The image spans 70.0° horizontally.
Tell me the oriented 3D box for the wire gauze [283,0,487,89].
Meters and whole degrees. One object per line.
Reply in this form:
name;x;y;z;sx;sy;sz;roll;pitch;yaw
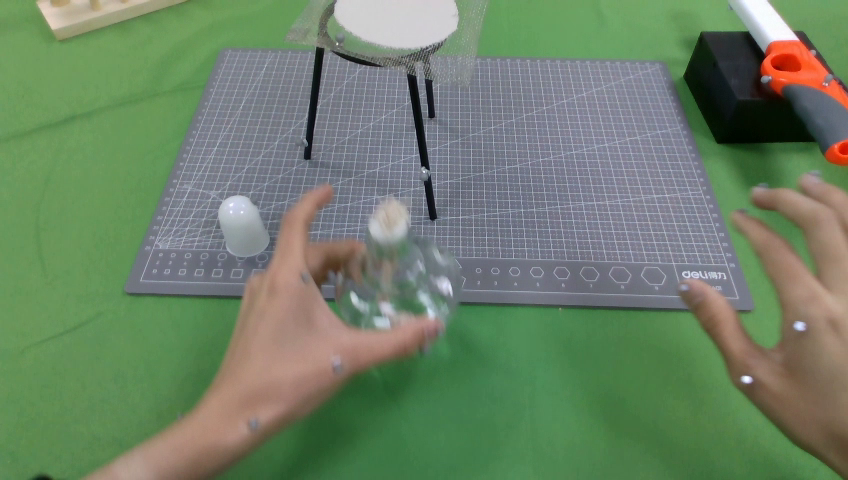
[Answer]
wire gauze;-0.019;-0.155;0.418;0.125;0.011;0.120;12;52;6

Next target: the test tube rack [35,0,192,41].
test tube rack;-0.296;-0.304;0.650;0.242;0.086;0.066;-28;58;-22

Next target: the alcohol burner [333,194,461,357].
alcohol burner;-0.018;0.018;0.355;0.078;0.120;0.077;-4;51;5

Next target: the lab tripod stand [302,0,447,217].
lab tripod stand;-0.027;-0.107;0.466;0.148;0.132;0.147;2;52;-2

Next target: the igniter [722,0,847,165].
igniter;0.314;-0.162;0.530;0.057;0.025;0.273;-2;49;1

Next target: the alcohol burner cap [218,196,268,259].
alcohol burner cap;-0.135;-0.012;0.446;0.034;0.048;0.033;2;51;-2
